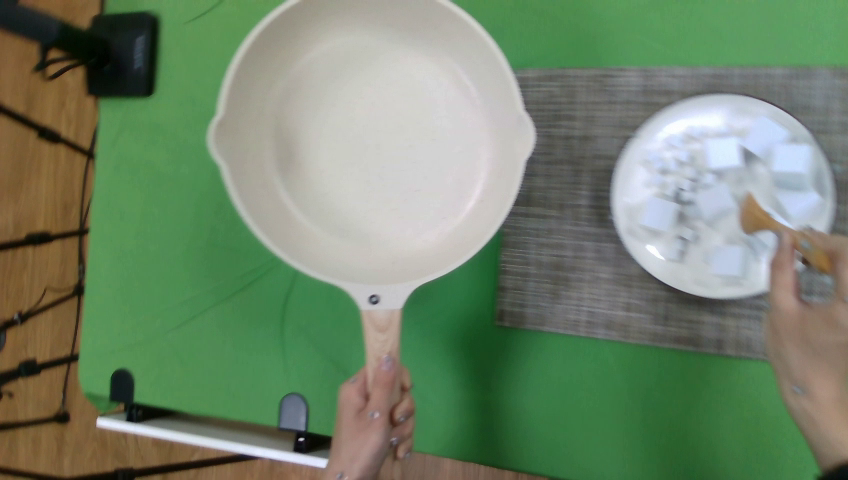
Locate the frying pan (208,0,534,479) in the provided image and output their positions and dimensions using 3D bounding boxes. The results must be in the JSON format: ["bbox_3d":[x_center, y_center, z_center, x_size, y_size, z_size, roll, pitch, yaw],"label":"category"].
[{"bbox_3d":[-0.047,0.007,0.593,0.307,0.103,0.486,-1,85,-2],"label":"frying pan"}]

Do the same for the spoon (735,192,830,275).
[{"bbox_3d":[0.288,-0.007,0.494,0.021,0.193,0.042,1,104,8],"label":"spoon"}]

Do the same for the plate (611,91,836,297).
[{"bbox_3d":[0.301,-0.046,0.625,0.207,0.039,0.207,-1,87,17],"label":"plate"}]
